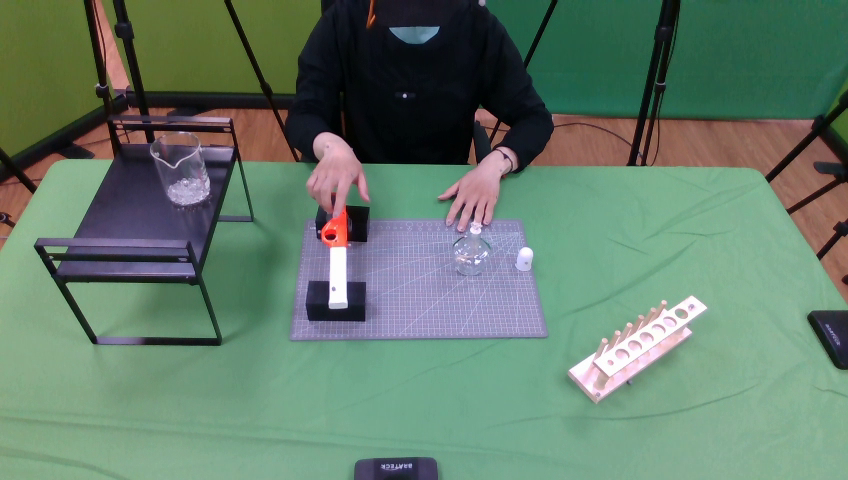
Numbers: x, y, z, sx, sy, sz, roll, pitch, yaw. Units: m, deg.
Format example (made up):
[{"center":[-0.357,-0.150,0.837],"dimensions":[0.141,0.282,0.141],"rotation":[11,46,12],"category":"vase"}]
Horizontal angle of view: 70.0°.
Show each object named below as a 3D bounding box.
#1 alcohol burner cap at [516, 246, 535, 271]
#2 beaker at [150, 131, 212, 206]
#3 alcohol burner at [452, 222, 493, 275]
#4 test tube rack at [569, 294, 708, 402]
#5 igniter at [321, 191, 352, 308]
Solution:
[{"center":[0.195,0.032,1.158],"dimensions":[0.034,0.048,0.033],"rotation":[2,45,-2],"category":"alcohol burner cap"},{"center":[-0.385,-0.110,0.969],"dimensions":[0.074,0.101,0.083],"rotation":[-6,48,-9],"category":"beaker"},{"center":[0.091,0.009,1.124],"dimensions":[0.078,0.119,0.077],"rotation":[2,48,-2],"category":"alcohol burner"},{"center":[0.360,0.167,1.015],"dimensions":[0.242,0.085,0.066],"rotation":[-25,52,-25],"category":"test tube rack"},{"center":[-0.158,0.008,1.101],"dimensions":[0.057,0.025,0.274],"rotation":[-2,48,-7],"category":"igniter"}]
